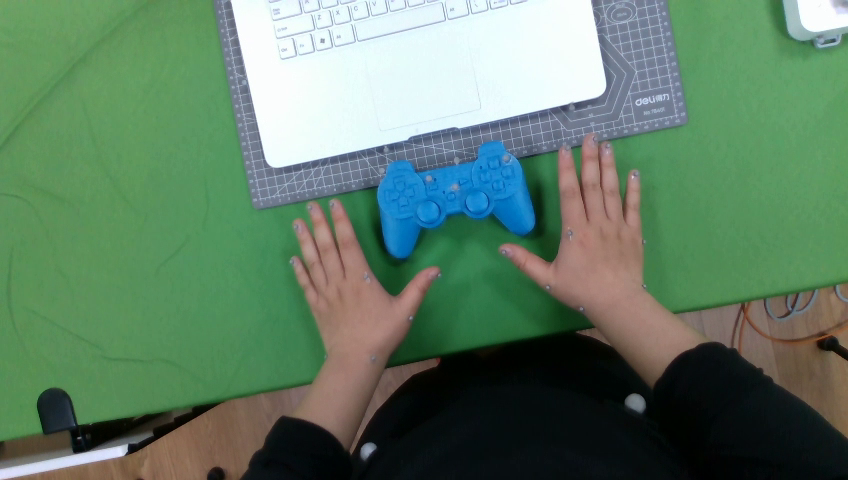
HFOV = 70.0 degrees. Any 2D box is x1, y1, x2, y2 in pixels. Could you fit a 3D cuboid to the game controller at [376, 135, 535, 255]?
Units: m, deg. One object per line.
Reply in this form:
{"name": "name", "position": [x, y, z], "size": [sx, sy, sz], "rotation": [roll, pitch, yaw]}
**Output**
{"name": "game controller", "position": [0.027, -0.045, 0.599], "size": [0.155, 0.051, 0.097], "rotation": [-11, 89, 5]}

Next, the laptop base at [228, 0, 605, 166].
{"name": "laptop base", "position": [-0.016, -0.225, 0.610], "size": [0.354, 0.023, 0.235], "rotation": [-12, 94, 6]}

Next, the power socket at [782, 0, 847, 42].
{"name": "power socket", "position": [0.364, -0.303, 0.563], "size": [0.072, 0.032, 0.226], "rotation": [-10, 91, 7]}
